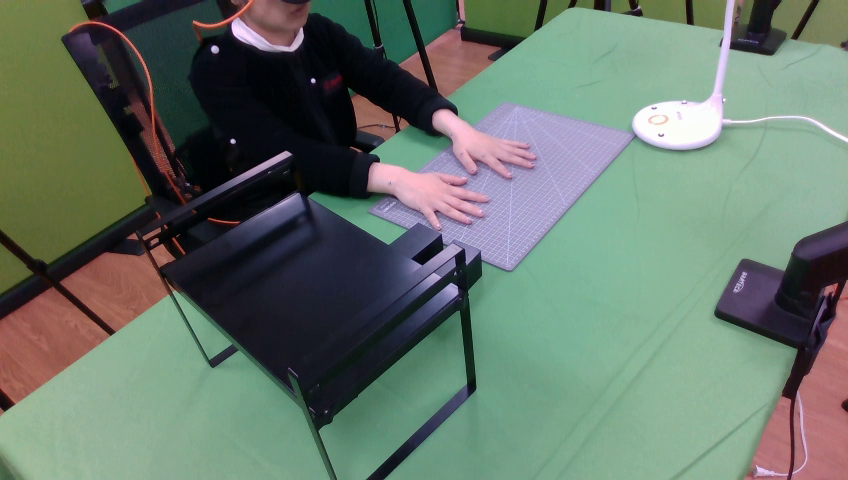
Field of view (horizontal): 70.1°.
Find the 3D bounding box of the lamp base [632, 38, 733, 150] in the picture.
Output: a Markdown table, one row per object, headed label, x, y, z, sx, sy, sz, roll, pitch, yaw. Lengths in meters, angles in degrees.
| label | x | y | z | sx | sy | sz | roll | pitch | yaw |
| --- | --- | --- | --- | --- | --- | --- | --- | --- | --- |
| lamp base | 0.486 | -0.280 | 1.108 | 0.179 | 0.181 | 0.159 | -5 | 41 | -1 |
